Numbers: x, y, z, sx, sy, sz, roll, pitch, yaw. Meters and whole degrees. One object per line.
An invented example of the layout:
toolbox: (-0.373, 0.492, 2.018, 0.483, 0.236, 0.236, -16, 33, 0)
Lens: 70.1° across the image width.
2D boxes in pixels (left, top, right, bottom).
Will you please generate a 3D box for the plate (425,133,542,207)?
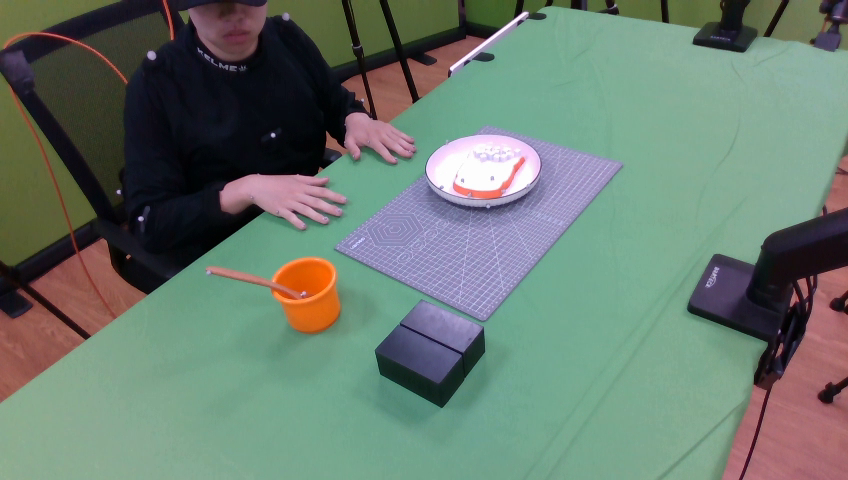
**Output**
plate: (0.106, -0.121, 1.079, 0.209, 0.038, 0.208, -4, 41, 4)

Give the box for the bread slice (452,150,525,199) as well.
bread slice: (0.112, -0.118, 1.079, 0.104, 0.019, 0.131, 11, 42, 21)

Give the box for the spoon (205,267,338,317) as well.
spoon: (-0.202, 0.067, 0.822, 0.021, 0.195, 0.041, -45, 38, 24)
